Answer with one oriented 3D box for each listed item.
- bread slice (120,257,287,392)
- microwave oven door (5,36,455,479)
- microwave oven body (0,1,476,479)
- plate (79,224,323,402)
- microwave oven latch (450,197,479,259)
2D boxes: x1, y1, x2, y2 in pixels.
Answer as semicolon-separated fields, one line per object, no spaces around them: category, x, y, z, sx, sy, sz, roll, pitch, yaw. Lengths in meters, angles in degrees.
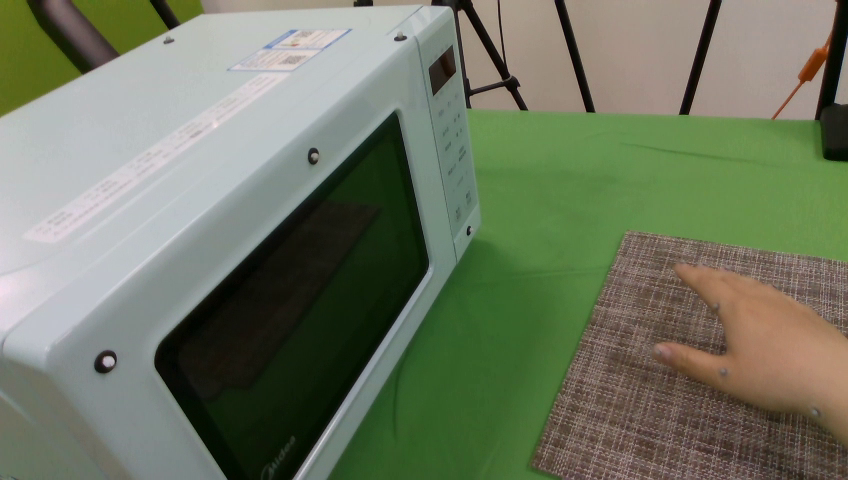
bread slice;-0.190;0.063;0.536;0.104;0.019;0.131;16;49;31
microwave oven door;-0.074;0.035;0.435;0.039;0.246;0.354;8;40;25
microwave oven body;-0.187;-0.003;0.528;0.324;0.263;0.439;8;41;24
plate;-0.187;0.061;0.531;0.209;0.038;0.207;-8;36;6
microwave oven latch;0.035;-0.014;0.646;0.030;0.030;0.079;9;41;25
